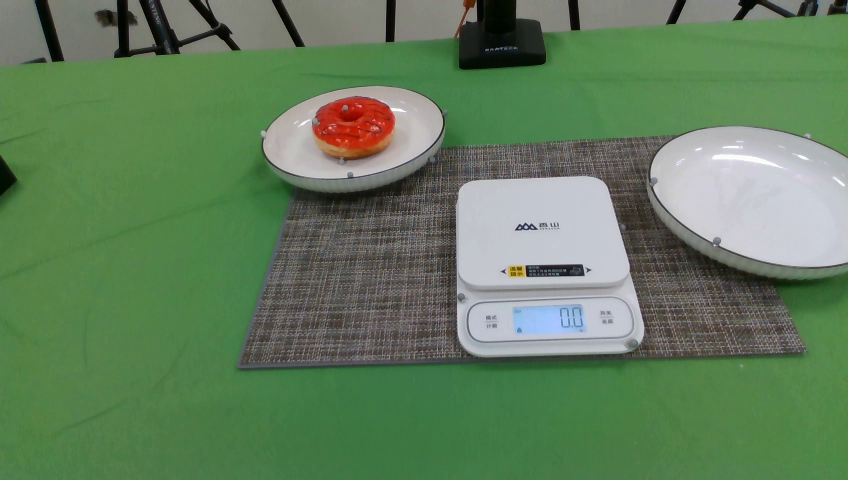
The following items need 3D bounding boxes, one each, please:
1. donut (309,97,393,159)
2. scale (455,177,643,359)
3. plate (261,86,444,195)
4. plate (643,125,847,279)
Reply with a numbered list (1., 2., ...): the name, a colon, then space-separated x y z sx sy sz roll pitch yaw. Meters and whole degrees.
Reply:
1. donut: -0.083 -0.129 0.699 0.099 0.049 0.098 -3 41 3
2. scale: 0.102 0.016 0.541 0.148 0.032 0.199 -3 44 5
3. plate: -0.081 -0.113 0.698 0.209 0.038 0.207 -4 41 4
4. plate: 0.311 -0.037 0.569 0.207 0.039 0.205 -2 44 2
